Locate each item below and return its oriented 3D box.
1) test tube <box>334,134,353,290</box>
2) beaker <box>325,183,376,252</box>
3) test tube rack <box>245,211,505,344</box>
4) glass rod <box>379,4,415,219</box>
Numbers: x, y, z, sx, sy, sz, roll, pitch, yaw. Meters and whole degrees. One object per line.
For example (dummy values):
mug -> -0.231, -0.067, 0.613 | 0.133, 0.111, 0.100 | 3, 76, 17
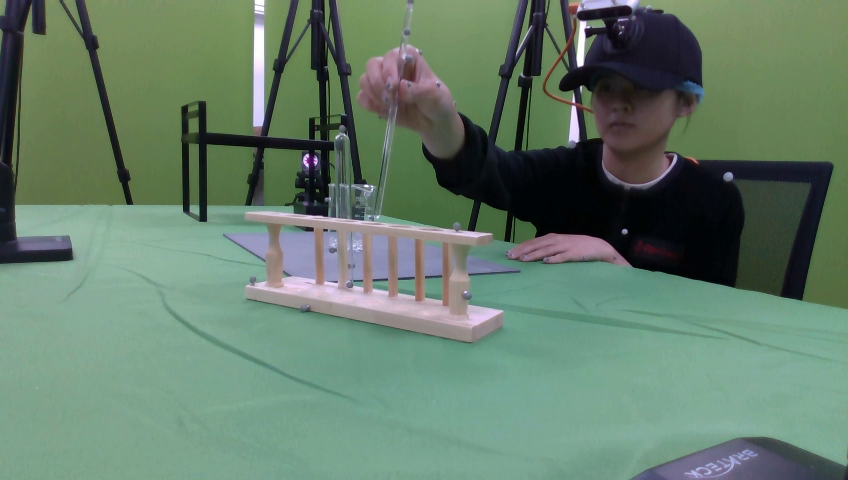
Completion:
test tube -> -0.077, -0.026, 0.579 | 0.017, 0.150, 0.017 | 0, 7, 0
beaker -> -0.110, -0.034, 0.920 | 0.083, 0.100, 0.074 | 10, 11, 43
test tube rack -> -0.049, 0.025, 0.547 | 0.241, 0.085, 0.067 | 7, 8, 29
glass rod -> -0.024, -0.116, 0.537 | 0.008, 0.199, 0.008 | 7, -8, 1
